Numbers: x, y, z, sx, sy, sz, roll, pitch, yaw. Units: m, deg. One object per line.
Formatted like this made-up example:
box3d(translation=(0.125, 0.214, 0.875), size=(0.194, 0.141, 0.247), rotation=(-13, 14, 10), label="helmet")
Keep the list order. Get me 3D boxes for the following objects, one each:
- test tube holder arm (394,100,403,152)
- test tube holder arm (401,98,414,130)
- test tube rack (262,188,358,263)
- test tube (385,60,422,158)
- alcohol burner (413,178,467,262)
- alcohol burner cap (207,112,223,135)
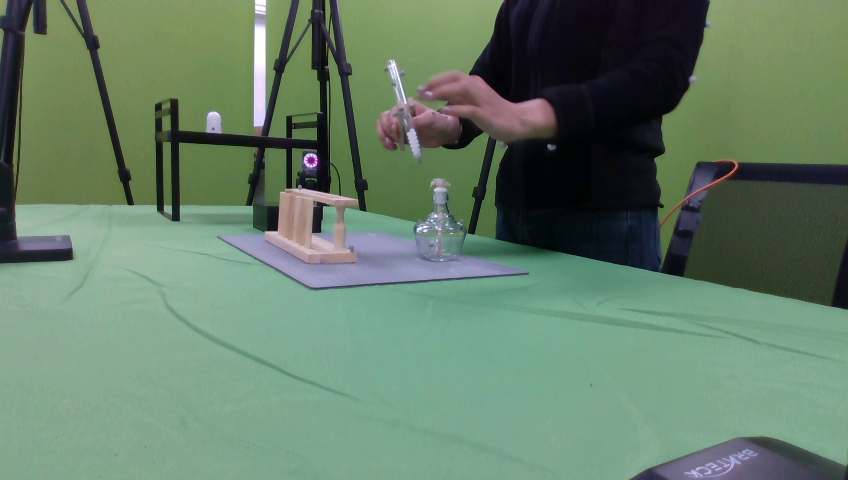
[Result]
box3d(translation=(-0.039, -0.172, 0.927), size=(0.013, 0.015, 0.178), rotation=(-10, -11, -6), label="test tube holder arm")
box3d(translation=(-0.028, -0.182, 0.884), size=(0.010, 0.015, 0.087), rotation=(-9, -11, -14), label="test tube holder arm")
box3d(translation=(-0.175, -0.028, 0.890), size=(0.067, 0.085, 0.241), rotation=(1, 7, -28), label="test tube rack")
box3d(translation=(-0.029, -0.187, 0.861), size=(0.017, 0.150, 0.017), rotation=(-15, -10, -3), label="test tube")
box3d(translation=(0.023, -0.029, 0.864), size=(0.078, 0.119, 0.078), rotation=(1, 6, 0), label="alcohol burner")
box3d(translation=(-0.440, -0.245, 1.271), size=(0.034, 0.048, 0.034), rotation=(2, 8, 0), label="alcohol burner cap")
